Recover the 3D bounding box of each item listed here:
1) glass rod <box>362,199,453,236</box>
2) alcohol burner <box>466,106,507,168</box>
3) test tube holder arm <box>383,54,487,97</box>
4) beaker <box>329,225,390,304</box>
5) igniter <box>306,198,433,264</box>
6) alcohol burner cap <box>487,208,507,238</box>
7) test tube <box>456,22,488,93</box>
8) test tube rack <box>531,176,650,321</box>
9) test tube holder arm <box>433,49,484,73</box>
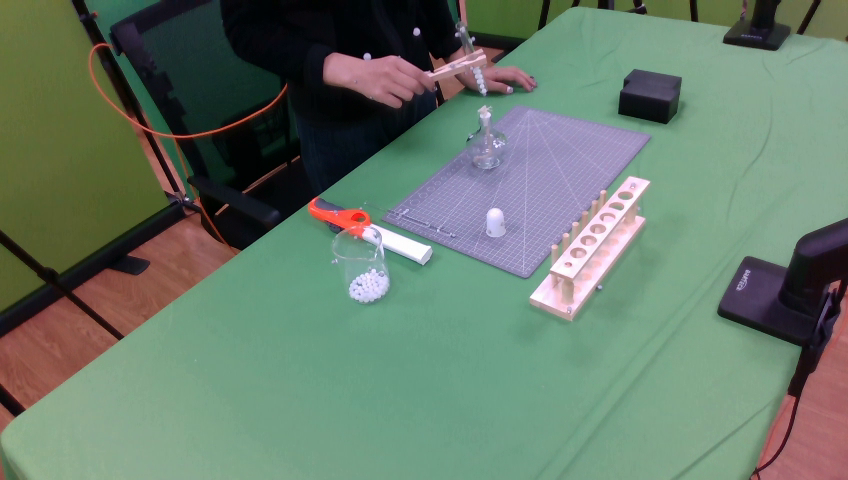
[{"bbox_3d":[-0.031,-0.041,1.041,0.198,0.008,0.008,22,50,31],"label":"glass rod"},{"bbox_3d":[0.114,-0.193,1.112,0.078,0.119,0.077,-4,41,4],"label":"alcohol burner"},{"bbox_3d":[0.017,-0.271,0.998,0.178,0.015,0.013,-18,53,5],"label":"test tube holder arm"},{"bbox_3d":[-0.089,0.040,0.890,0.074,0.101,0.083,-32,46,-24],"label":"beaker"},{"bbox_3d":[-0.102,-0.020,1.019,0.274,0.025,0.057,22,59,32],"label":"igniter"},{"bbox_3d":[0.116,-0.030,0.975,0.034,0.048,0.033,-6,40,5],"label":"alcohol burner cap"},{"bbox_3d":[0.081,-0.296,0.995,0.017,0.151,0.017,-10,57,16],"label":"test tube"},{"bbox_3d":[0.246,0.002,0.884,0.066,0.085,0.243,22,49,32],"label":"test tube rack"},{"bbox_3d":[0.058,-0.291,0.999,0.088,0.015,0.010,-25,53,0],"label":"test tube holder arm"}]
